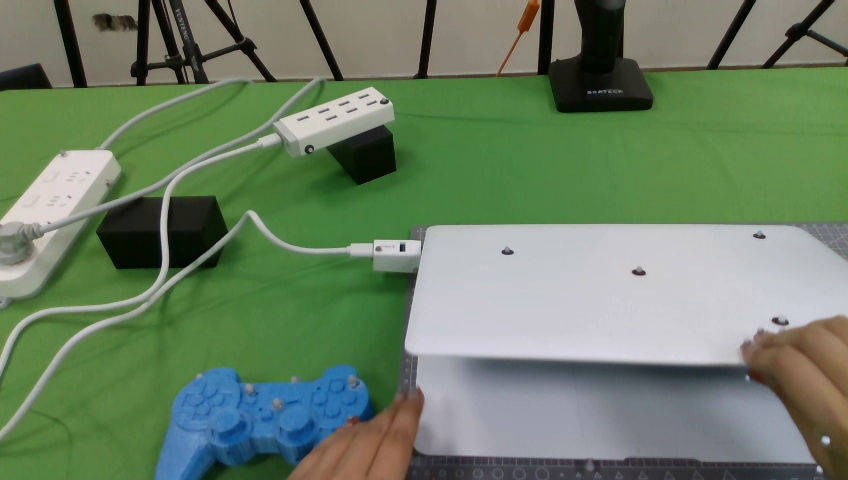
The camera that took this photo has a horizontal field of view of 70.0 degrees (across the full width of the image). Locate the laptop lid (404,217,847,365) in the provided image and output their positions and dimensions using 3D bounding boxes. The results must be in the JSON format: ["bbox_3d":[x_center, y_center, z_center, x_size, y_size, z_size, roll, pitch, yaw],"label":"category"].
[{"bbox_3d":[0.169,0.026,0.476,0.356,0.013,0.240,1,24,5],"label":"laptop lid"}]

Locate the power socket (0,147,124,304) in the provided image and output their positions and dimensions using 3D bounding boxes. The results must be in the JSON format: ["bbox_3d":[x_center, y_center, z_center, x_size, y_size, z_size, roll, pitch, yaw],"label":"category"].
[{"bbox_3d":[-0.394,-0.028,0.639,0.072,0.033,0.224,2,44,5],"label":"power socket"}]

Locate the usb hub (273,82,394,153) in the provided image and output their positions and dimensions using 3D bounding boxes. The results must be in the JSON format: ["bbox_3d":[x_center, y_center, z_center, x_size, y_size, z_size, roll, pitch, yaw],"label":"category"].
[{"bbox_3d":[-0.098,-0.135,0.667,0.125,0.025,0.049,-27,49,-21],"label":"usb hub"}]

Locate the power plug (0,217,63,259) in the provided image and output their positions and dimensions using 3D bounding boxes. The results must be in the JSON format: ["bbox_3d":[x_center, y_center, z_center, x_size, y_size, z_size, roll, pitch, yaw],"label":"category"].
[{"bbox_3d":[-0.371,0.006,0.567,0.072,0.053,0.035,11,44,11],"label":"power plug"}]

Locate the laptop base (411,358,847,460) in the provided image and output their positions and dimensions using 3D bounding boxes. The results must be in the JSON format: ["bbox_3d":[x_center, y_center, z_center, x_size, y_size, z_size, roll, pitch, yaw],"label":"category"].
[{"bbox_3d":[0.172,0.073,0.508,0.354,0.023,0.233,0,47,4],"label":"laptop base"}]

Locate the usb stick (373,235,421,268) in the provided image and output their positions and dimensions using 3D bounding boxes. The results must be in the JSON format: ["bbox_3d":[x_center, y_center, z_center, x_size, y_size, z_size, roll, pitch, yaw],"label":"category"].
[{"bbox_3d":[-0.018,0.011,0.563,0.059,0.027,0.021,3,43,-6],"label":"usb stick"}]

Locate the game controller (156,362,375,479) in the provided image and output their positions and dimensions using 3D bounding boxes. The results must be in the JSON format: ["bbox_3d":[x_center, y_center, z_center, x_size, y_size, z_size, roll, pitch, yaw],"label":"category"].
[{"bbox_3d":[-0.111,0.132,0.443,0.155,0.052,0.096,0,40,3],"label":"game controller"}]
